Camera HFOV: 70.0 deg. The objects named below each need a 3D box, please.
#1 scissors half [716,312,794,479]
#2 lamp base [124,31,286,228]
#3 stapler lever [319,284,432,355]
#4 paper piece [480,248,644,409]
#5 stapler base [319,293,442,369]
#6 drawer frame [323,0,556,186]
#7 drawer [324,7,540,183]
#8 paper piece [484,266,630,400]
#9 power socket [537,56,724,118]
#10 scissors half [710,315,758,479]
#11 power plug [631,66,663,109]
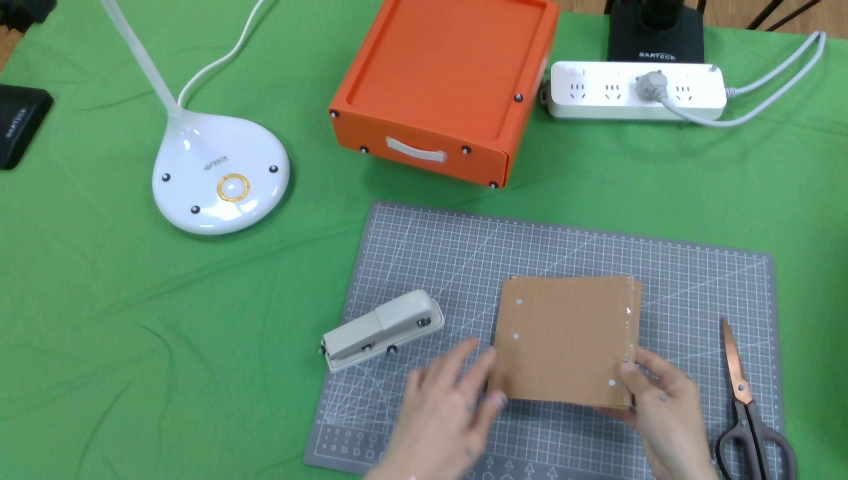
[{"bbox_3d":[0.316,0.151,0.590,0.040,0.013,0.173,-8,63,-4],"label":"scissors half"},{"bbox_3d":[-0.257,-0.127,0.658,0.178,0.182,0.160,40,71,22],"label":"lamp base"},{"bbox_3d":[-0.049,0.078,0.606,0.118,0.040,0.026,-22,61,-7],"label":"stapler lever"},{"bbox_3d":[0.139,0.083,0.604,0.135,0.004,0.135,16,67,17],"label":"paper piece"},{"bbox_3d":[-0.046,0.089,0.629,0.130,0.024,0.041,-22,61,-7],"label":"stapler base"},{"bbox_3d":[0.022,-0.190,0.688,0.201,0.083,0.212,16,67,10],"label":"drawer frame"},{"bbox_3d":[0.021,-0.186,0.683,0.194,0.074,0.210,16,65,11],"label":"drawer"},{"bbox_3d":[0.132,0.088,0.598,0.135,0.009,0.137,-4,56,26],"label":"paper piece"},{"bbox_3d":[0.255,-0.190,0.751,0.226,0.033,0.071,3,65,3],"label":"power socket"},{"bbox_3d":[0.296,0.151,0.589,0.040,0.013,0.174,10,61,-1],"label":"scissors half"},{"bbox_3d":[0.262,-0.174,0.717,0.035,0.053,0.072,13,65,8],"label":"power plug"}]
